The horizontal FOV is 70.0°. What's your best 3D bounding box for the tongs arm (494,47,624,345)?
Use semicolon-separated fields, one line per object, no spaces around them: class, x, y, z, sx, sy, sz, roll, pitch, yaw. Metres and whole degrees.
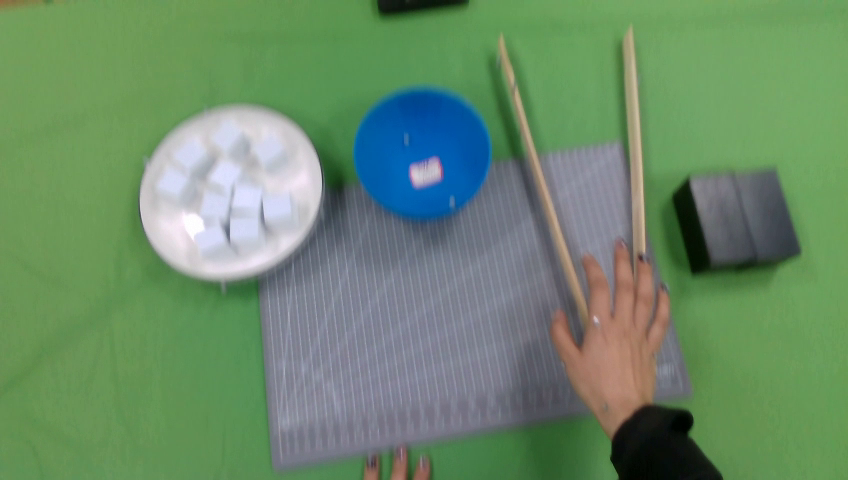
tongs arm;0.151;-0.064;0.708;0.051;0.026;0.382;-10;72;-7

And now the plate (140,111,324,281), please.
plate;-0.217;-0.050;0.701;0.208;0.039;0.206;0;72;1

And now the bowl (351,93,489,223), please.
bowl;-0.004;-0.080;0.689;0.151;0.077;0.150;0;72;0

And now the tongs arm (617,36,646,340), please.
tongs arm;0.238;-0.072;0.713;0.028;0.028;0.385;5;72;-5
